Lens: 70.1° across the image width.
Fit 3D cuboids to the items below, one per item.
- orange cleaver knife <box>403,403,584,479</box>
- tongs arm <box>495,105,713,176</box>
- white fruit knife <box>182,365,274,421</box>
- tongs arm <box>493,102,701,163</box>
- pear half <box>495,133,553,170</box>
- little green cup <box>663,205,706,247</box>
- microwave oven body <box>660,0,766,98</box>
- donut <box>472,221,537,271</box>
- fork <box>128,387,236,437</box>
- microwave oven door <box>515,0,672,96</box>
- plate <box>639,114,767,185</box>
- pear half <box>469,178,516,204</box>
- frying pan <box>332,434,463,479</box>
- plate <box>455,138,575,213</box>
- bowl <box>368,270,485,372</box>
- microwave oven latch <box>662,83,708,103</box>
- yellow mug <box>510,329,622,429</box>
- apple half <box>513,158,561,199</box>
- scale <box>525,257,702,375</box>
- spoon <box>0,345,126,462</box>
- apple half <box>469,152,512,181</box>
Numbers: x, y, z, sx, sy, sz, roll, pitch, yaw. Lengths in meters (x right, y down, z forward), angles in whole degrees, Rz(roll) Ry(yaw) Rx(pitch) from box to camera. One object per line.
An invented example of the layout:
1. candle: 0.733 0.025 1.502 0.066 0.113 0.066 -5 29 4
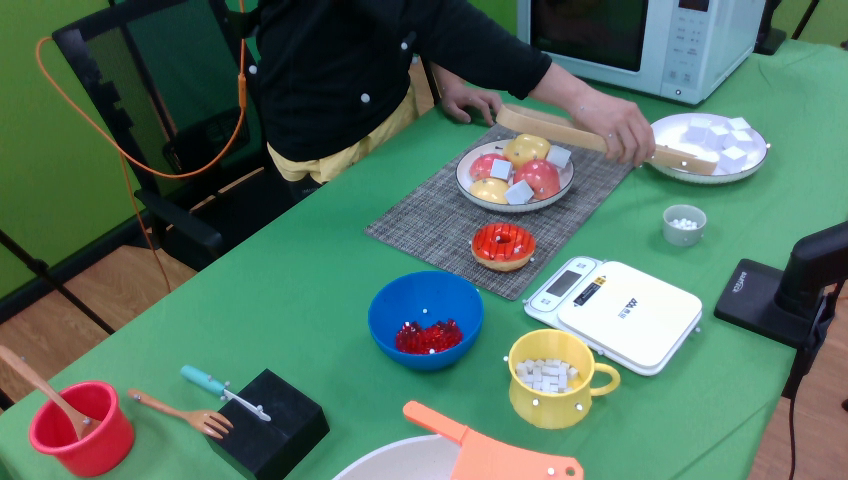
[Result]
1. orange cleaver knife: 0.062 0.223 0.610 0.210 0.012 0.077 15 47 25
2. tongs arm: 0.294 -0.149 0.954 0.390 0.028 0.028 11 31 -17
3. white fruit knife: -0.245 0.188 0.747 0.205 0.027 0.016 9 41 41
4. tongs arm: 0.290 -0.161 0.975 0.387 0.026 0.050 13 27 -13
5. pear half: 0.174 -0.167 1.094 0.109 0.056 0.076 15 53 30
6. little green cup: 0.396 -0.020 0.926 0.061 0.039 0.061 -4 40 4
7. microwave oven body: 0.472 -0.513 1.317 0.438 0.261 0.327 26 51 34
8. donut: 0.123 0.009 0.923 0.099 0.048 0.098 -3 38 3
9. fork: -0.305 0.207 0.744 0.206 0.019 0.028 3 41 36
10. microwave oven door: 0.343 -0.455 1.259 0.353 0.245 0.039 26 51 33
11. plate: 0.489 -0.157 1.074 0.207 0.039 0.206 -4 40 4
12. pear half: 0.115 -0.090 1.035 0.087 0.031 0.071 29 39 33
13. frying pan: -0.089 0.306 0.564 0.487 0.103 0.306 10 41 7
14. plate: 0.159 -0.111 1.063 0.209 0.038 0.208 -4 40 4
15. bowl: 0.007 0.119 0.791 0.151 0.077 0.150 -5 40 4
16. microwave oven latch: 0.518 -0.296 1.204 0.078 0.029 0.030 28 52 35
17. yellow mug: 0.168 0.164 0.721 0.130 0.064 0.099 0 40 8
18. apple half: 0.193 -0.111 1.031 0.080 0.053 0.075 11 41 26
19. scale: 0.254 0.091 0.821 0.199 0.032 0.149 27 51 35
20. spoon: -0.434 0.192 0.720 0.194 0.021 0.042 47 53 -6
21. apple half: 0.120 -0.139 1.088 0.081 0.033 0.081 0 44 0
